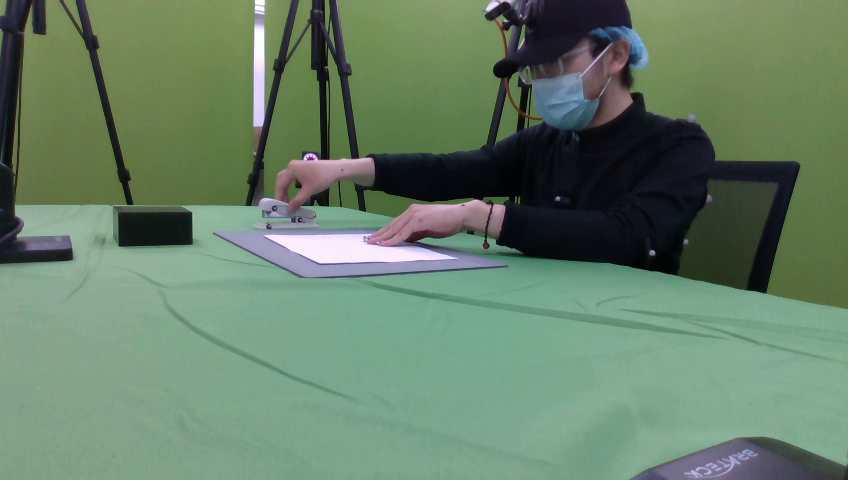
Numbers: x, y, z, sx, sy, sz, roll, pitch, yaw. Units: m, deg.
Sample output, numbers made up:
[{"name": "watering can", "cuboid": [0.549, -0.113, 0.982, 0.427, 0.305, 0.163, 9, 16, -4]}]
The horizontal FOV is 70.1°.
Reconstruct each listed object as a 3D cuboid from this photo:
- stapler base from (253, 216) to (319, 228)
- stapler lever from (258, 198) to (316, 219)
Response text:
[{"name": "stapler base", "cuboid": [-0.274, -0.037, 1.203, 0.131, 0.024, 0.041, -1, 11, -40]}, {"name": "stapler lever", "cuboid": [-0.271, -0.062, 1.201, 0.119, 0.040, 0.026, -1, 11, -40]}]
